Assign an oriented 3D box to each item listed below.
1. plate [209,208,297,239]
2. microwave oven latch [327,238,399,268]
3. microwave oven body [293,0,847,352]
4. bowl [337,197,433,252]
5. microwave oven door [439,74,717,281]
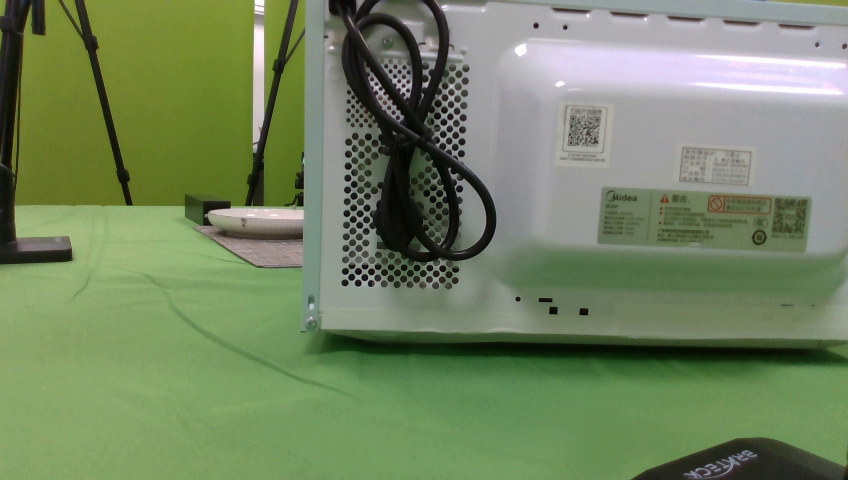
[{"bbox_3d":[-0.271,-0.029,1.074,0.208,0.039,0.207,3,7,0],"label":"plate"},{"bbox_3d":[-0.069,0.015,0.694,0.079,0.029,0.030,3,7,-3],"label":"microwave oven latch"},{"bbox_3d":[0.122,-0.055,0.550,0.442,0.260,0.325,3,7,-5],"label":"microwave oven body"},{"bbox_3d":[-0.062,-0.025,0.955,0.151,0.077,0.151,3,8,0],"label":"bowl"},{"bbox_3d":[0.183,-0.089,0.801,0.354,0.243,0.039,7,9,32],"label":"microwave oven door"}]
